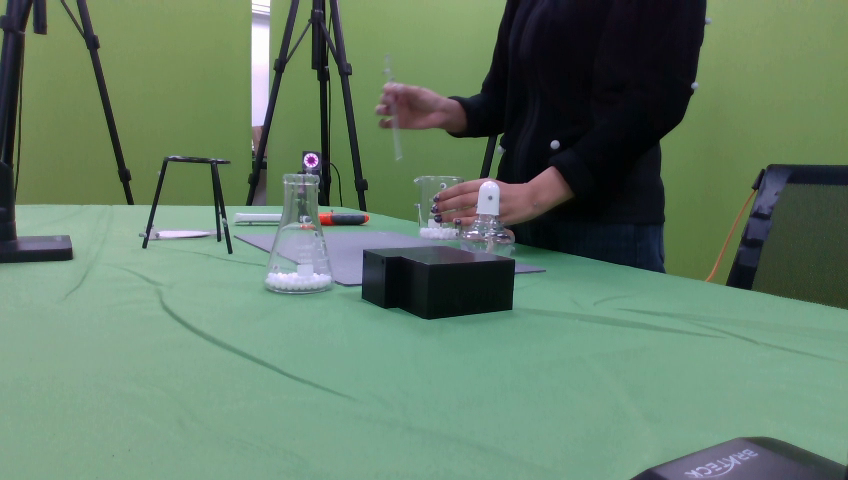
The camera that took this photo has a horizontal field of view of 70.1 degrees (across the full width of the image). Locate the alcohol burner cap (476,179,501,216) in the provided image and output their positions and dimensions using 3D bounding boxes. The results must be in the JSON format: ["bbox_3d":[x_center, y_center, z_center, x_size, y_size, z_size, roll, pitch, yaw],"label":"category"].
[{"bbox_3d":[0.086,-0.057,0.801,0.034,0.048,0.034,4,2,0],"label":"alcohol burner cap"}]

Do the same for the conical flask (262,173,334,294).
[{"bbox_3d":[-0.131,-0.009,0.632,0.075,0.122,0.075,2,8,0],"label":"conical flask"}]

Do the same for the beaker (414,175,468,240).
[{"bbox_3d":[0.026,-0.052,0.946,0.084,0.100,0.074,2,4,6],"label":"beaker"}]

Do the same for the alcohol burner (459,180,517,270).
[{"bbox_3d":[0.086,-0.021,0.805,0.078,0.119,0.078,3,9,0],"label":"alcohol burner"}]

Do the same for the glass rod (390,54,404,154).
[{"bbox_3d":[-0.045,-0.226,0.990,0.008,0.199,0.008,-6,-24,-2],"label":"glass rod"}]

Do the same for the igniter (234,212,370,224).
[{"bbox_3d":[-0.247,-0.046,1.253,0.278,0.025,0.057,-1,-3,-27],"label":"igniter"}]

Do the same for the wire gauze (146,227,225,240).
[{"bbox_3d":[-0.400,-0.012,1.019,0.122,0.011,0.124,-1,6,-26],"label":"wire gauze"}]

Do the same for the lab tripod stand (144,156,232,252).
[{"bbox_3d":[-0.325,-0.054,0.881,0.148,0.131,0.148,4,7,0],"label":"lab tripod stand"}]
